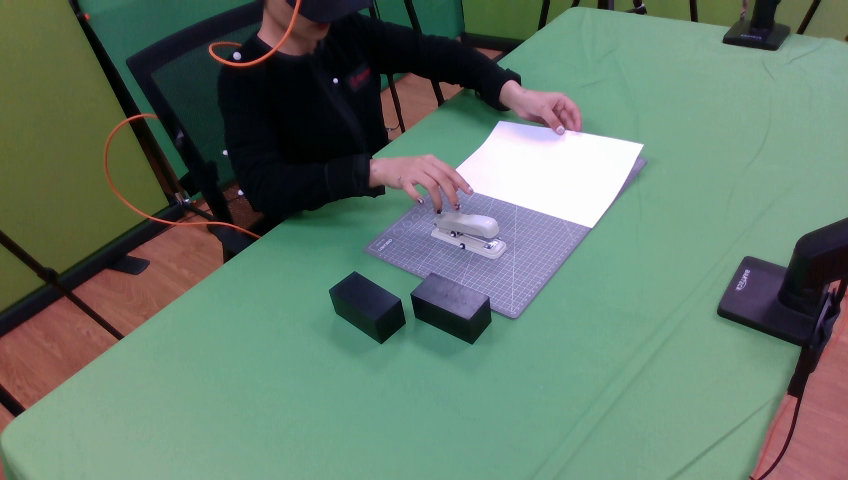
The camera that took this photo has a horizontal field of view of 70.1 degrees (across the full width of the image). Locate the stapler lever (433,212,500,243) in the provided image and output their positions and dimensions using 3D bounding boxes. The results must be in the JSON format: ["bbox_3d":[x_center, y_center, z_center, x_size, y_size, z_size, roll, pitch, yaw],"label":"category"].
[{"bbox_3d":[0.067,-0.026,0.957,0.117,0.040,0.027,20,45,33],"label":"stapler lever"}]

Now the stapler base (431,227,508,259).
[{"bbox_3d":[0.072,-0.007,0.972,0.129,0.024,0.041,20,45,33],"label":"stapler base"}]
